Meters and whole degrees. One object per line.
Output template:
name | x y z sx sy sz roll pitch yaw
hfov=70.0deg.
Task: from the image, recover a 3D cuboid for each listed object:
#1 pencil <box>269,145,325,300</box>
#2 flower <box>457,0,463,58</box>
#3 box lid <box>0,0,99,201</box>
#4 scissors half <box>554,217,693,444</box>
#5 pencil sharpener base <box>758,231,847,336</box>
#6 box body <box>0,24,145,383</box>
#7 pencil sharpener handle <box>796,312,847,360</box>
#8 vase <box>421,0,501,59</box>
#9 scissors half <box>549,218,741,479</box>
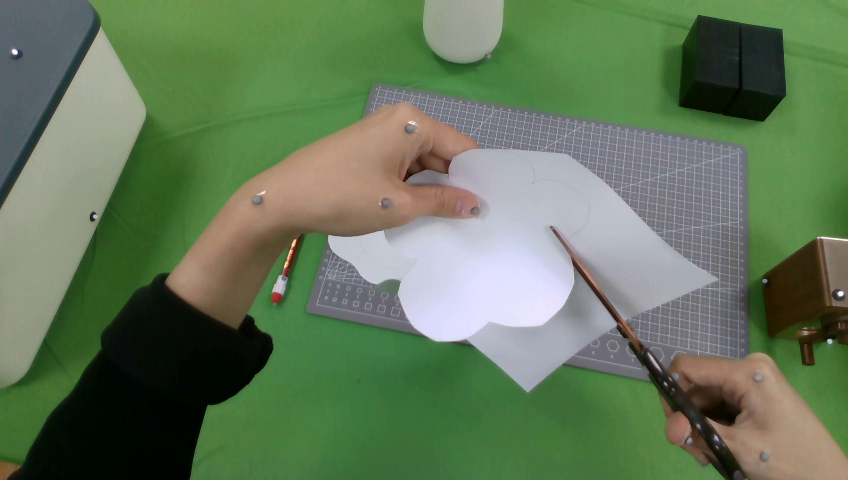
pencil | -0.136 -0.025 0.664 0.012 0.012 0.193 11 65 5
flower | 0.040 -0.346 0.610 0.044 0.365 0.038 4 49 5
box lid | -0.470 -0.094 0.522 0.263 0.015 0.369 11 67 3
scissors half | 0.122 0.055 0.359 0.013 0.039 0.176 -34 109 7
pencil sharpener base | 0.381 0.048 0.586 0.061 0.108 0.076 6 67 2
box body | -0.470 -0.061 0.590 0.254 0.161 0.361 10 67 4
pencil sharpener handle | 0.372 0.089 0.555 0.036 0.068 0.030 12 66 -11
vase | 0.043 -0.300 0.681 0.098 0.201 0.097 0 65 1
scissors half | 0.122 0.059 0.338 0.013 0.040 0.175 -35 85 2
